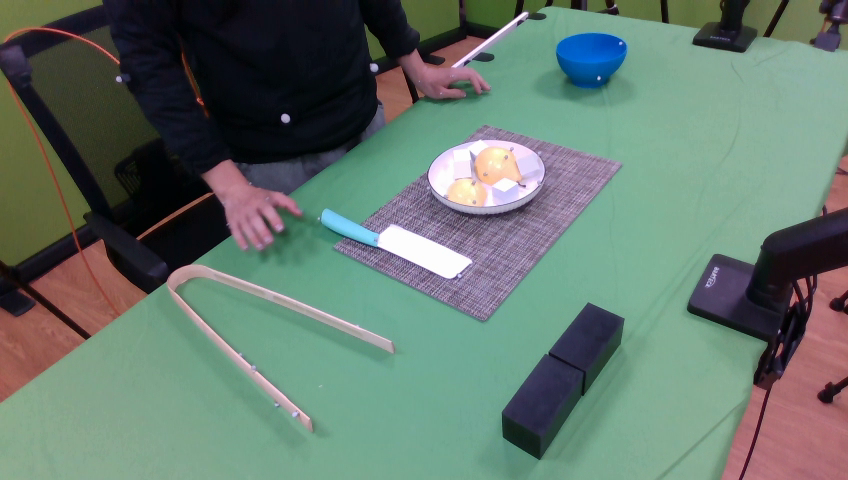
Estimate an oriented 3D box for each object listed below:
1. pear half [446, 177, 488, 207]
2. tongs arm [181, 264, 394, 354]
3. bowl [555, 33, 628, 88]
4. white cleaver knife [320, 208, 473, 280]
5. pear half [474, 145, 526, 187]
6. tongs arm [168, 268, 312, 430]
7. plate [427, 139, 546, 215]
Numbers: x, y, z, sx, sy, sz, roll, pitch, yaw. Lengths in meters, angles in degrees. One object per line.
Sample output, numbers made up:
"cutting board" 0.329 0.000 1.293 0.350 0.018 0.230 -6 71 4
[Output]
"pear half" 0.073 -0.086 1.031 0.070 0.031 0.087 -20 36 -10
"tongs arm" -0.208 0.095 0.883 0.385 0.028 0.028 16 48 25
"bowl" 0.361 -0.384 1.318 0.151 0.077 0.150 -4 41 4
"white cleaver knife" -0.053 0.001 0.978 0.284 0.021 0.066 23 40 26
"pear half" 0.140 -0.129 1.059 0.076 0.056 0.109 -37 52 -25
"tongs arm" -0.259 0.136 0.836 0.381 0.026 0.051 27 50 35
"plate" 0.109 -0.106 1.058 0.207 0.039 0.206 -4 41 4
